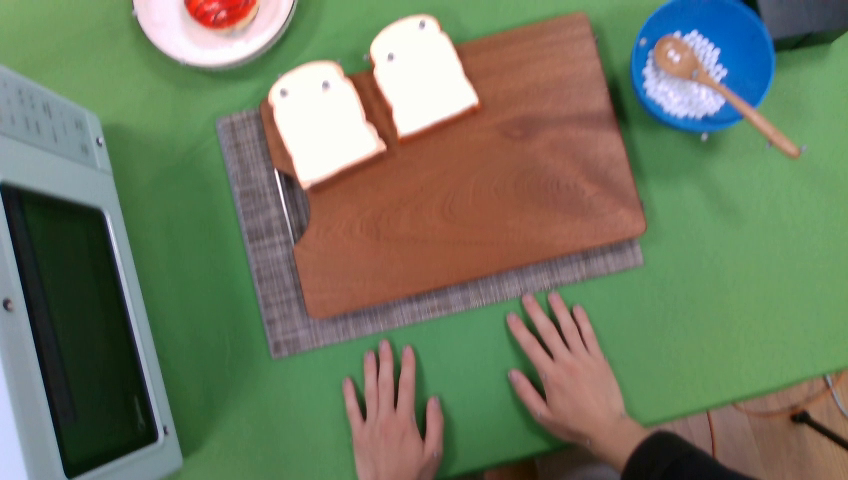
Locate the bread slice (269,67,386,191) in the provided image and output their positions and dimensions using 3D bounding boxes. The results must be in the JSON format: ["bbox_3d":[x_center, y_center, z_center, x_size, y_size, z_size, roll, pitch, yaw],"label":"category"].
[{"bbox_3d":[-0.121,-0.134,0.708,0.107,0.018,0.134,-29,83,0],"label":"bread slice"}]

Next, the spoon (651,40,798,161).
[{"bbox_3d":[0.320,-0.150,0.650,0.041,0.022,0.192,-41,66,4],"label":"spoon"}]

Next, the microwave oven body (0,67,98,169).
[{"bbox_3d":[-0.500,0.087,0.617,0.326,0.261,0.440,-17,85,1],"label":"microwave oven body"}]

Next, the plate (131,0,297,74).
[{"bbox_3d":[-0.256,-0.303,0.752,0.207,0.039,0.207,0,85,4],"label":"plate"}]

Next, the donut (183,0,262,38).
[{"bbox_3d":[-0.246,-0.295,0.739,0.099,0.048,0.099,-1,86,7],"label":"donut"}]

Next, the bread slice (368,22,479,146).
[{"bbox_3d":[-0.009,-0.188,0.707,0.105,0.019,0.131,-24,83,0],"label":"bread slice"}]

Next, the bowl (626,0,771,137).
[{"bbox_3d":[0.297,-0.182,0.686,0.151,0.077,0.151,0,85,4],"label":"bowl"}]

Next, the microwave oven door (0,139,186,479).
[{"bbox_3d":[-0.349,0.084,0.603,0.039,0.244,0.354,-17,84,2],"label":"microwave oven door"}]

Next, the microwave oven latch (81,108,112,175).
[{"bbox_3d":[-0.401,-0.115,0.726,0.030,0.029,0.079,-16,85,2],"label":"microwave oven latch"}]
